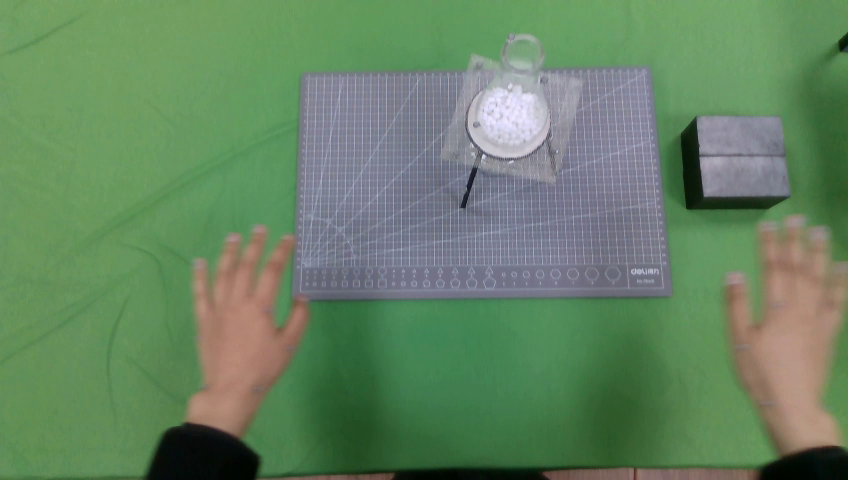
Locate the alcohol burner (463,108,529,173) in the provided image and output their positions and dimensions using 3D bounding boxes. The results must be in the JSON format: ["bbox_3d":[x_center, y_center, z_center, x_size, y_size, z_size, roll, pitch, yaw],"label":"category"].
[{"bbox_3d":[0.084,-0.123,0.701,0.078,0.119,0.077,-1,78,3],"label":"alcohol burner"}]

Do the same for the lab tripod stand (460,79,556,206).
[{"bbox_3d":[0.086,-0.114,0.689,0.148,0.132,0.147,-1,77,3],"label":"lab tripod stand"}]

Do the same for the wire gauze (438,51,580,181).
[{"bbox_3d":[0.089,-0.128,0.624,0.121,0.011,0.124,16,76,4],"label":"wire gauze"}]

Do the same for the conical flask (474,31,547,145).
[{"bbox_3d":[0.086,-0.145,0.568,0.075,0.122,0.075,0,76,2],"label":"conical flask"}]
